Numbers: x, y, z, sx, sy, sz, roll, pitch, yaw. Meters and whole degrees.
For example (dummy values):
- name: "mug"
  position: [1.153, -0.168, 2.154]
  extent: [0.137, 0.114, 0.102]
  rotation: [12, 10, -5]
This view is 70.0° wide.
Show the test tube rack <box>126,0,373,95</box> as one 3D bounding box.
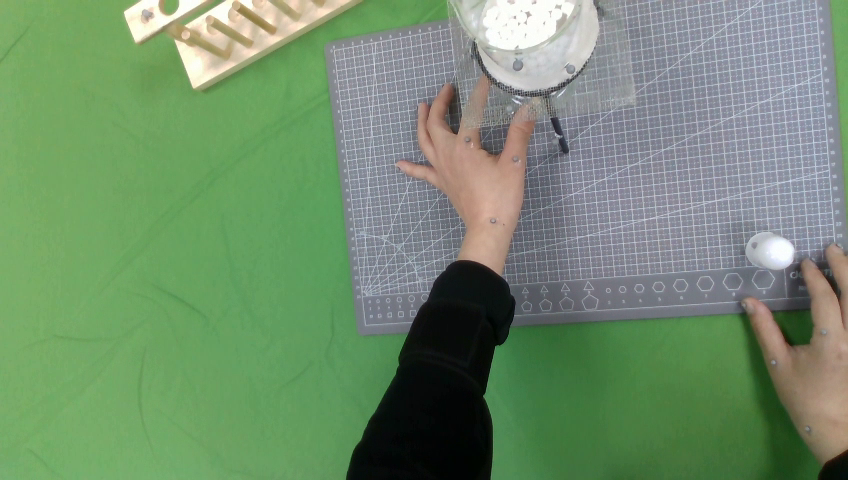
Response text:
- name: "test tube rack"
  position: [-0.157, -0.231, 0.589]
  extent: [0.242, 0.085, 0.066]
  rotation: [-23, 87, 15]

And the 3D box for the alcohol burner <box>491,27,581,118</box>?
- name: "alcohol burner"
  position: [0.093, -0.145, 0.511]
  extent: [0.078, 0.119, 0.078]
  rotation: [1, 92, 13]

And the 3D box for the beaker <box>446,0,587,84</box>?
- name: "beaker"
  position: [0.063, -0.144, 0.391]
  extent: [0.083, 0.100, 0.074]
  rotation: [8, 96, 15]

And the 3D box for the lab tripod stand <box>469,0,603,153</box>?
- name: "lab tripod stand"
  position: [0.097, -0.148, 0.499]
  extent: [0.148, 0.131, 0.148]
  rotation: [1, 94, 13]

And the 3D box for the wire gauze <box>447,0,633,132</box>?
- name: "wire gauze"
  position: [0.081, -0.146, 0.436]
  extent: [0.125, 0.011, 0.121]
  rotation: [-6, 95, 12]

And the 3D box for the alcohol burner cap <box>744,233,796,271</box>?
- name: "alcohol burner cap"
  position: [0.291, 0.010, 0.506]
  extent: [0.034, 0.048, 0.034]
  rotation: [1, 92, 14]
